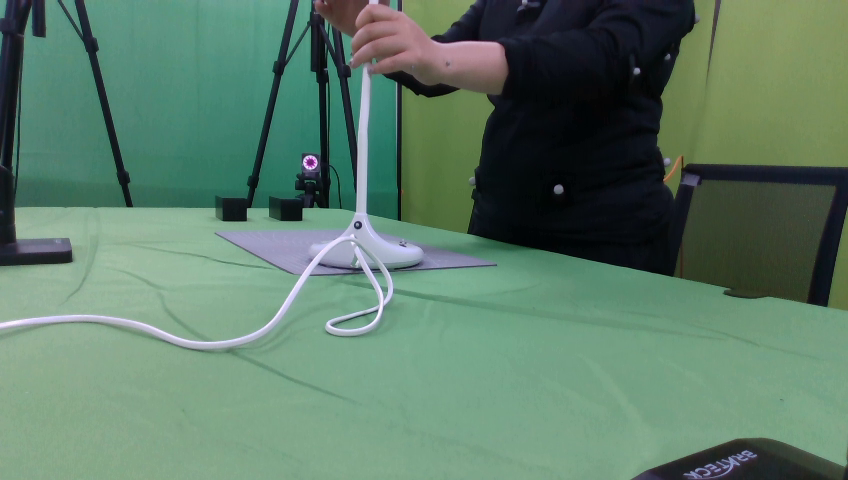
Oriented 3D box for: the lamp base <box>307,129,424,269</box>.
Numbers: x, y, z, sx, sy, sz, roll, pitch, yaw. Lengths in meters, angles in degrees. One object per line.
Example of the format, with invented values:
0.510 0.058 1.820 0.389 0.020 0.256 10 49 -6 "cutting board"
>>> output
-0.077 -0.057 0.811 0.161 0.180 0.179 2 10 -4 "lamp base"
